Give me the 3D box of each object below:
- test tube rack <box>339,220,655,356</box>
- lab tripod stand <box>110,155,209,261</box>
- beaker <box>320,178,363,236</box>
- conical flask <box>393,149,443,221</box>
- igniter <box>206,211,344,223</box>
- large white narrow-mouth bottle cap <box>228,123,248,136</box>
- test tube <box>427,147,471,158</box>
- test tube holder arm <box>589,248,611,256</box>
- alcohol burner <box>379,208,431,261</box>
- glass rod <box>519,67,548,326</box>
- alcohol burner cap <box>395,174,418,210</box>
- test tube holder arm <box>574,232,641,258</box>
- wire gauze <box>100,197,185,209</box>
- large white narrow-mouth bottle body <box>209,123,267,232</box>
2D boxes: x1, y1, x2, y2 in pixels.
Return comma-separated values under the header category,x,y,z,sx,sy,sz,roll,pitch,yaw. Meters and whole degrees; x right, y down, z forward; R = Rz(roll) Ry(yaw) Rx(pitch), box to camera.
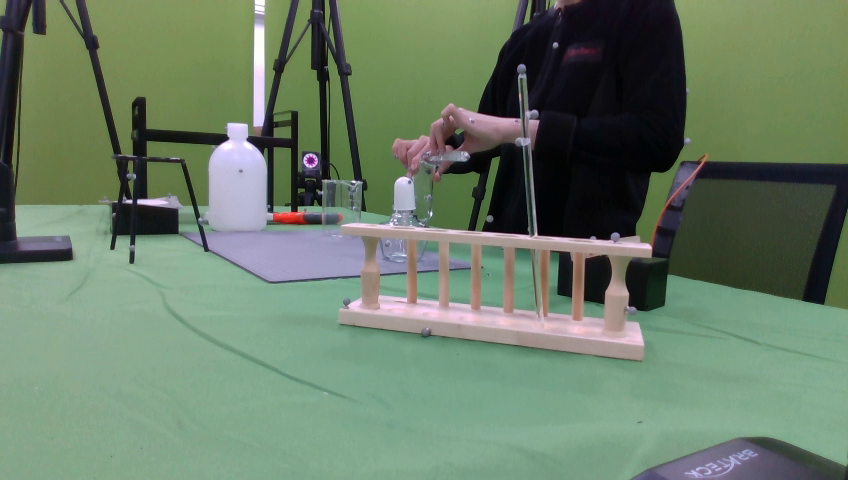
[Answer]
category,x,y,z,sx,sy,sz,roll,pitch,yaw
test tube rack,0.056,0.032,0.495,0.242,0.085,0.067,4,7,15
lab tripod stand,-0.361,-0.046,0.806,0.148,0.131,0.148,2,5,0
beaker,-0.145,-0.059,1.079,0.074,0.100,0.083,-4,10,-36
conical flask,-0.004,-0.097,1.030,0.075,0.122,0.075,12,43,-11
igniter,-0.302,-0.048,1.249,0.278,0.025,0.057,-2,-2,-26
large white narrow-mouth bottle cap,-0.338,-0.200,1.097,0.038,0.024,0.037,2,8,0
test tube,0.037,-0.133,0.920,0.017,0.017,0.149,-1,8,-20
test tube holder arm,0.180,0.006,0.611,0.010,0.015,0.088,-3,2,36
alcohol burner,-0.027,-0.031,0.838,0.078,0.119,0.078,0,6,0
glass rod,0.084,-0.029,0.459,0.008,0.199,0.008,-7,11,2
alcohol burner cap,-0.026,-0.067,0.834,0.034,0.048,0.034,-2,12,1
test tube holder arm,0.202,0.003,0.651,0.013,0.015,0.179,-3,2,36
wire gauze,-0.469,-0.062,1.008,0.126,0.011,0.121,-2,8,-25
large white narrow-mouth bottle body,-0.340,-0.115,1.109,0.102,0.194,0.102,2,8,0
